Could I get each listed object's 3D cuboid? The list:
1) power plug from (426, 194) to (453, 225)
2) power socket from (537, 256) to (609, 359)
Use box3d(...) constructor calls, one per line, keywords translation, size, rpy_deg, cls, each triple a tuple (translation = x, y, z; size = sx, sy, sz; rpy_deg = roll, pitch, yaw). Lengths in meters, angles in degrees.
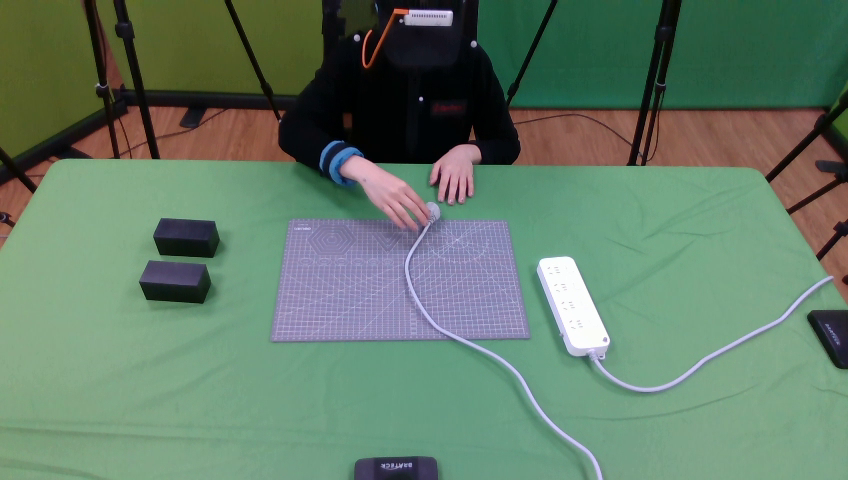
box3d(translation=(0.032, -0.060, 1.229), size=(0.035, 0.072, 0.052), rpy_deg=(-24, 96, -34), cls="power plug")
box3d(translation=(0.266, 0.115, 1.097), size=(0.072, 0.033, 0.225), rpy_deg=(-5, 47, -8), cls="power socket")
